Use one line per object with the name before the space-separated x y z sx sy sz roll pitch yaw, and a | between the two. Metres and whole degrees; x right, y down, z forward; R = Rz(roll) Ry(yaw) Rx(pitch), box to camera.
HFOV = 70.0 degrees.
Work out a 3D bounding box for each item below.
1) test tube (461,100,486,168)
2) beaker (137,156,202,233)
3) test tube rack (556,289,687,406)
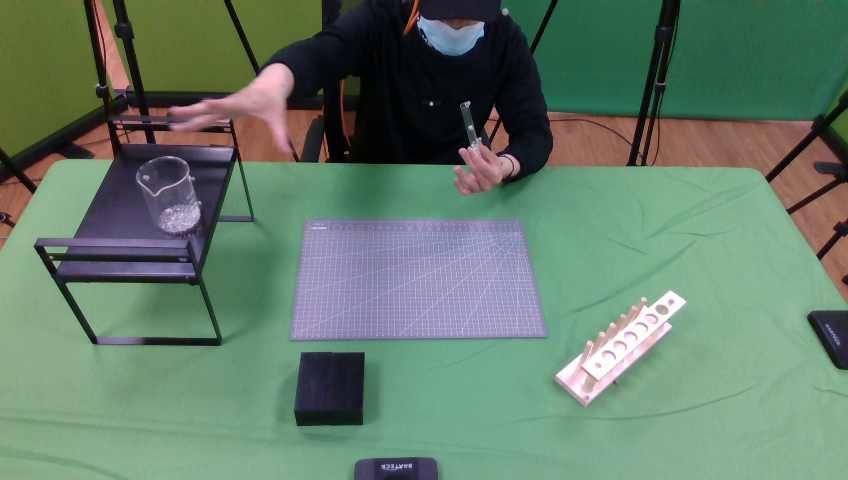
test tube | 0.090 -0.188 1.090 0.017 0.151 0.017 -11 47 12
beaker | -0.385 -0.065 0.925 0.074 0.101 0.083 2 47 -1
test tube rack | 0.332 0.166 1.014 0.242 0.085 0.066 -30 55 -28
